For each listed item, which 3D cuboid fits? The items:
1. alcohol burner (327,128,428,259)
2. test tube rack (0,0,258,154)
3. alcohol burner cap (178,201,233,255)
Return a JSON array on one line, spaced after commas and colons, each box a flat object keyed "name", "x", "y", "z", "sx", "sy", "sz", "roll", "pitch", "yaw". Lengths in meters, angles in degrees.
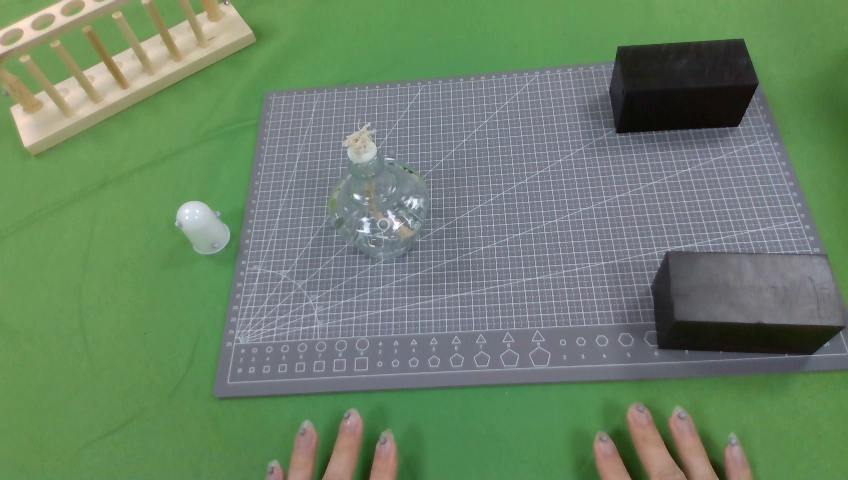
[{"name": "alcohol burner", "x": -0.037, "y": -0.037, "z": 0.445, "sx": 0.078, "sy": 0.120, "sz": 0.077, "roll": -3, "pitch": 57, "yaw": 6}, {"name": "test tube rack", "x": -0.295, "y": -0.187, "z": 0.585, "sx": 0.242, "sy": 0.086, "sz": 0.066, "roll": -31, "pitch": 61, "yaw": -11}, {"name": "alcohol burner cap", "x": -0.181, "y": -0.012, "z": 0.494, "sx": 0.034, "sy": 0.048, "sz": 0.033, "roll": -4, "pitch": 59, "yaw": 7}]
